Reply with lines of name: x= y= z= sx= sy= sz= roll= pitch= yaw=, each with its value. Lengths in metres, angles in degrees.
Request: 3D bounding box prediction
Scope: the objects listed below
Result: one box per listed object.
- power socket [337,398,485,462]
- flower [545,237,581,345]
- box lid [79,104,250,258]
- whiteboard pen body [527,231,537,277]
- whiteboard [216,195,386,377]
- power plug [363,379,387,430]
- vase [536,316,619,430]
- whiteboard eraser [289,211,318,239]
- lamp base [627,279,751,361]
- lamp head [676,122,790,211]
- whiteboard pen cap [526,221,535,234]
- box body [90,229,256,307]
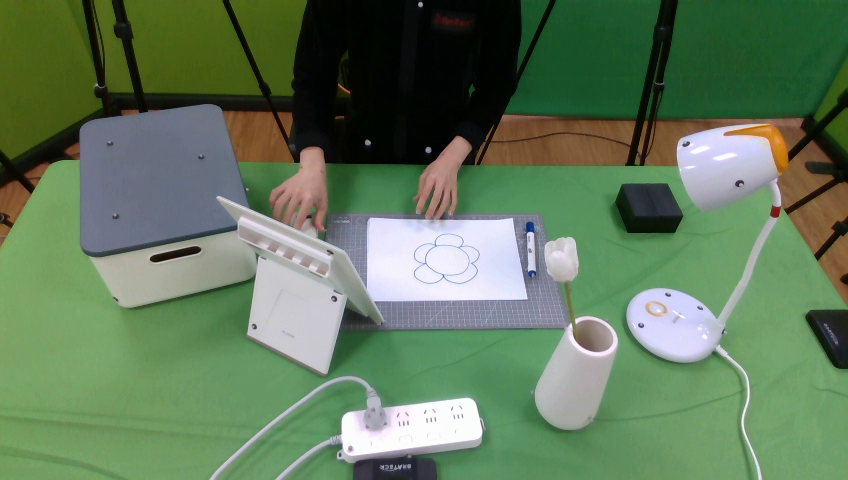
power socket: x=-0.018 y=0.285 z=0.914 sx=0.227 sy=0.033 sz=0.071 roll=-4 pitch=46 yaw=-8
flower: x=0.213 y=0.137 z=0.846 sx=0.038 sy=0.364 sz=0.044 roll=21 pitch=55 yaw=40
box lid: x=-0.467 y=-0.121 z=1.075 sx=0.264 sy=0.015 sz=0.369 roll=-13 pitch=49 yaw=-17
whiteboard pen body: x=0.211 y=0.018 z=1.191 sx=0.017 sy=0.017 sz=0.140 roll=6 pitch=44 yaw=2
whiteboard: x=-0.212 y=0.094 z=0.938 sx=0.216 sy=0.307 sz=0.143 roll=24 pitch=70 yaw=17
power plug: x=-0.071 y=0.252 z=0.911 sx=0.035 sy=0.053 sz=0.072 roll=3 pitch=40 yaw=0
vase: x=0.229 y=0.200 z=0.901 sx=0.098 sy=0.201 sz=0.097 roll=3 pitch=46 yaw=-3
whiteboard eraser: x=-0.235 y=-0.007 z=1.172 sx=0.055 sy=0.042 sz=0.112 roll=-4 pitch=47 yaw=-4
lamp base: x=0.460 y=0.100 z=1.027 sx=0.178 sy=0.181 sz=0.160 roll=27 pitch=51 yaw=17
lamp head: x=0.423 y=-0.104 z=0.819 sx=0.122 sy=0.113 sz=0.112 roll=-13 pitch=33 yaw=40
whiteboard pen cap: x=0.216 y=-0.022 z=1.234 sx=0.018 sy=0.018 sz=0.033 roll=6 pitch=44 yaw=1
box body: x=-0.471 y=-0.070 z=1.131 sx=0.254 sy=0.161 sz=0.361 roll=-14 pitch=49 yaw=-17
